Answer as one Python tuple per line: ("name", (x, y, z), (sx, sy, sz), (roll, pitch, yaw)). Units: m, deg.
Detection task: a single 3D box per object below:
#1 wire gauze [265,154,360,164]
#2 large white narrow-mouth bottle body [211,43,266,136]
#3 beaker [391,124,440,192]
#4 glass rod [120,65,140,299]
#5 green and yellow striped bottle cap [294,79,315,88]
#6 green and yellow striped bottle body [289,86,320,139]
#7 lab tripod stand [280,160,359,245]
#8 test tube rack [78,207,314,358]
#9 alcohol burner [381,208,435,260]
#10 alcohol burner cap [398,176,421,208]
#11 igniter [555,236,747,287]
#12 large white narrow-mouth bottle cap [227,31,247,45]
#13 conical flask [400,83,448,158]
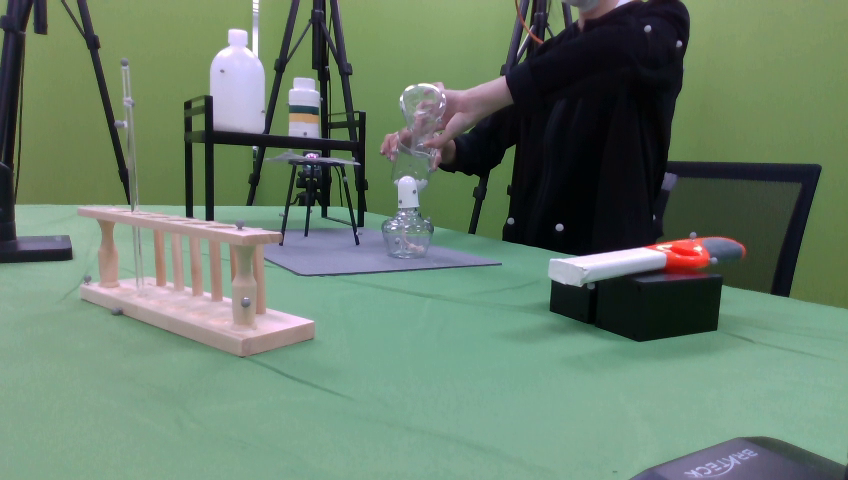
("wire gauze", (-0.181, -0.129, 0.969), (0.126, 0.011, 0.121), (-1, 7, -27))
("large white narrow-mouth bottle body", (-0.361, -0.302, 1.176), (0.102, 0.194, 0.102), (1, 7, 0))
("beaker", (-0.015, -0.138, 1.053), (0.074, 0.100, 0.083), (-27, 59, -33))
("glass rod", (-0.249, -0.047, 0.513), (0.008, 0.199, 0.008), (-1, 4, 0))
("green and yellow striped bottle cap", (-0.248, -0.323, 1.256), (0.045, 0.020, 0.045), (4, 9, 0))
("green and yellow striped bottle body", (-0.250, -0.272, 1.261), (0.063, 0.119, 0.063), (3, 7, 0))
("lab tripod stand", (-0.176, -0.062, 0.973), (0.148, 0.131, 0.148), (1, 7, 0))
("test tube rack", (-0.196, 0.024, 0.500), (0.241, 0.085, 0.067), (8, 8, 37))
("alcohol burner", (-0.023, -0.032, 0.871), (0.078, 0.119, 0.078), (0, 6, 0))
("alcohol burner cap", (-0.023, -0.068, 0.866), (0.034, 0.048, 0.034), (-5, 8, 1))
("igniter", (0.221, 0.017, 0.558), (0.278, 0.025, 0.057), (-5, 15, -39))
("large white narrow-mouth bottle cap", (-0.361, -0.389, 1.166), (0.038, 0.024, 0.037), (1, 7, 0))
("conical flask", (-0.002, -0.187, 0.981), (0.075, 0.075, 0.122), (2, -34, -1))
